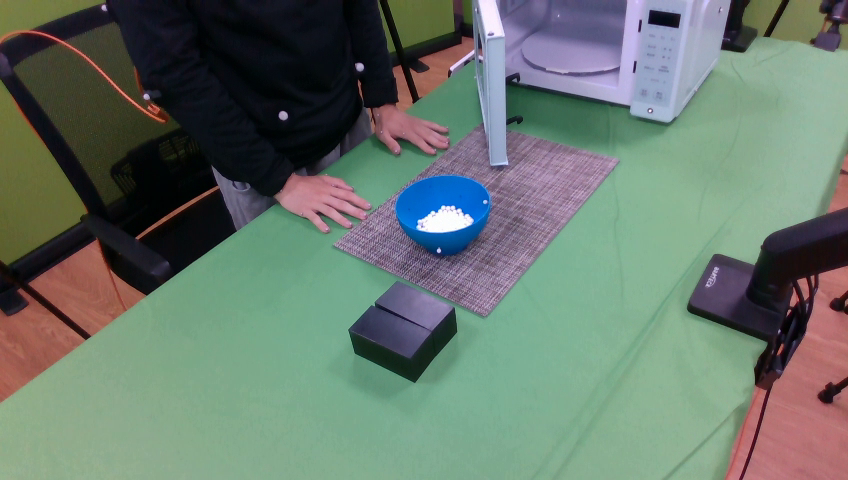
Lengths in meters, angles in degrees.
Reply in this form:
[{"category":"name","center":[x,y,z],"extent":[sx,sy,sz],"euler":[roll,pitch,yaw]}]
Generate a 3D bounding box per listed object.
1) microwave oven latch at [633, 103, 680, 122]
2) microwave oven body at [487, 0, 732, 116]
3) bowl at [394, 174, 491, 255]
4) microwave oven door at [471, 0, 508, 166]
[{"category":"microwave oven latch","center":[0.443,-0.249,1.157],"extent":[0.078,0.029,0.030],"euler":[21,48,30]},{"category":"microwave oven body","center":[0.377,-0.462,1.267],"extent":[0.438,0.261,0.327],"euler":[21,48,30]},{"category":"bowl","center":[0.032,-0.030,0.949],"extent":[0.151,0.077,0.150],"euler":[-4,40,4]},{"category":"microwave oven door","center":[0.122,-0.340,1.153],"extent":[0.039,0.245,0.354],"euler":[-5,40,3]}]
